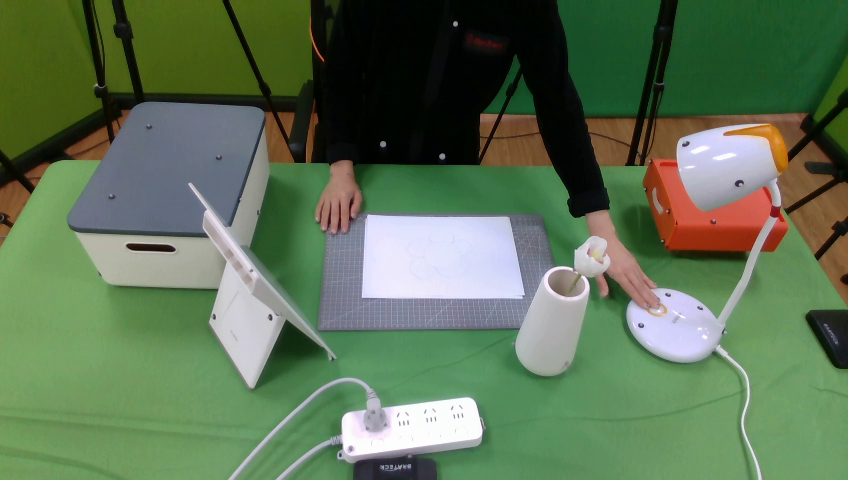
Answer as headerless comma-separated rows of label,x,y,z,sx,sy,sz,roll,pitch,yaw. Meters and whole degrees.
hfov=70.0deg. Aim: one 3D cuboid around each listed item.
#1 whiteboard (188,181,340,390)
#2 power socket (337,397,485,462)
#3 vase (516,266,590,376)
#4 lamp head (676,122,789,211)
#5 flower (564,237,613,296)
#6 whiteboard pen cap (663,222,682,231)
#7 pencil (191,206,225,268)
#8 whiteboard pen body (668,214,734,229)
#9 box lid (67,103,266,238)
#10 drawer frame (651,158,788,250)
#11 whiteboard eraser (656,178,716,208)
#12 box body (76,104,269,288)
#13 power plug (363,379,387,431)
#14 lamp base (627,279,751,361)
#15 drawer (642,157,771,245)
whiteboard,-0.292,0.096,0.929,0.144,0.307,0.216,-38,57,-11
power socket,-0.017,0.285,0.915,0.227,0.033,0.071,-5,46,-8
vase,0.208,0.132,0.964,0.098,0.201,0.097,3,46,-3
lamp head,0.423,-0.104,0.819,0.122,0.113,0.112,-13,33,40
flower,0.206,0.088,0.893,0.038,0.363,0.044,-16,67,-9
whiteboard pen cap,0.488,-0.027,1.188,0.033,0.018,0.018,-1,46,-13
pencil,-0.418,-0.011,1.184,0.012,0.012,0.193,4,39,0
whiteboard pen body,0.547,-0.035,1.200,0.141,0.017,0.017,-8,48,-9
box lid,-0.446,-0.137,1.094,0.263,0.015,0.369,2,45,-2
drawer frame,0.571,-0.074,1.213,0.214,0.083,0.200,1,46,0
whiteboard eraser,0.538,-0.095,1.251,0.113,0.042,0.055,4,52,-10
box body,-0.450,-0.087,1.149,0.254,0.161,0.361,2,46,-2
power plug,-0.072,0.252,0.910,0.035,0.053,0.072,3,44,-1
lamp base,0.459,0.100,1.027,0.178,0.181,0.160,27,51,17
drawer,0.564,-0.075,1.210,0.212,0.073,0.193,3,45,-1
